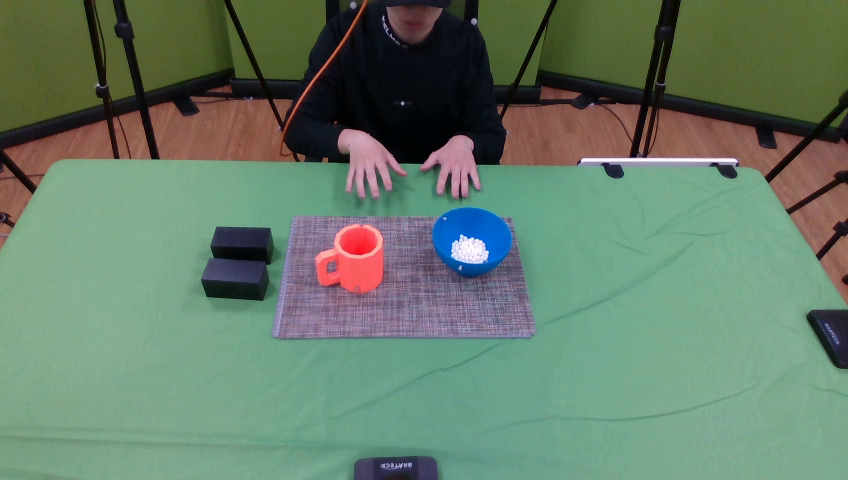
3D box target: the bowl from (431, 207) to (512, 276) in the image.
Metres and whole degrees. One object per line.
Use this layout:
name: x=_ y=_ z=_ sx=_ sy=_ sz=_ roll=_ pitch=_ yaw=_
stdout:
bowl: x=0.086 y=0.016 z=1.147 sx=0.151 sy=0.077 sz=0.150 roll=3 pitch=46 yaw=-3

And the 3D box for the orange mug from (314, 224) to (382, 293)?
orange mug: x=-0.135 y=0.038 z=1.094 sx=0.126 sy=0.101 sz=0.083 roll=-14 pitch=49 yaw=-23
